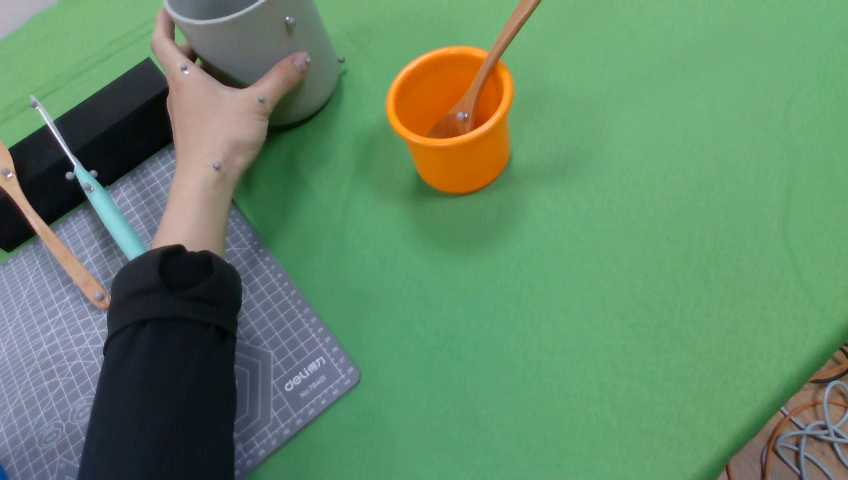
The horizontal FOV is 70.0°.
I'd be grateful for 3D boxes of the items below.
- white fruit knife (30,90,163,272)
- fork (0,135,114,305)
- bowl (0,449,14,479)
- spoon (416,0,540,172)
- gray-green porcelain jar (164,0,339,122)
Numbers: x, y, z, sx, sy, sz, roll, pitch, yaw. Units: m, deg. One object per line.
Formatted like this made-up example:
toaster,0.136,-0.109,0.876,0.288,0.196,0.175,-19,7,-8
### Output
white fruit knife,-0.277,-0.054,0.501,0.016,0.027,0.206,-39,74,-10
fork,-0.316,-0.026,0.492,0.028,0.019,0.206,-40,79,-16
bowl,-0.314,0.184,0.377,0.151,0.077,0.150,-5,61,10
spoon,0.048,-0.126,0.429,0.022,0.194,0.041,-4,49,-43
gray-green porcelain jar,-0.135,-0.171,0.507,0.105,0.128,0.105,-5,60,10
